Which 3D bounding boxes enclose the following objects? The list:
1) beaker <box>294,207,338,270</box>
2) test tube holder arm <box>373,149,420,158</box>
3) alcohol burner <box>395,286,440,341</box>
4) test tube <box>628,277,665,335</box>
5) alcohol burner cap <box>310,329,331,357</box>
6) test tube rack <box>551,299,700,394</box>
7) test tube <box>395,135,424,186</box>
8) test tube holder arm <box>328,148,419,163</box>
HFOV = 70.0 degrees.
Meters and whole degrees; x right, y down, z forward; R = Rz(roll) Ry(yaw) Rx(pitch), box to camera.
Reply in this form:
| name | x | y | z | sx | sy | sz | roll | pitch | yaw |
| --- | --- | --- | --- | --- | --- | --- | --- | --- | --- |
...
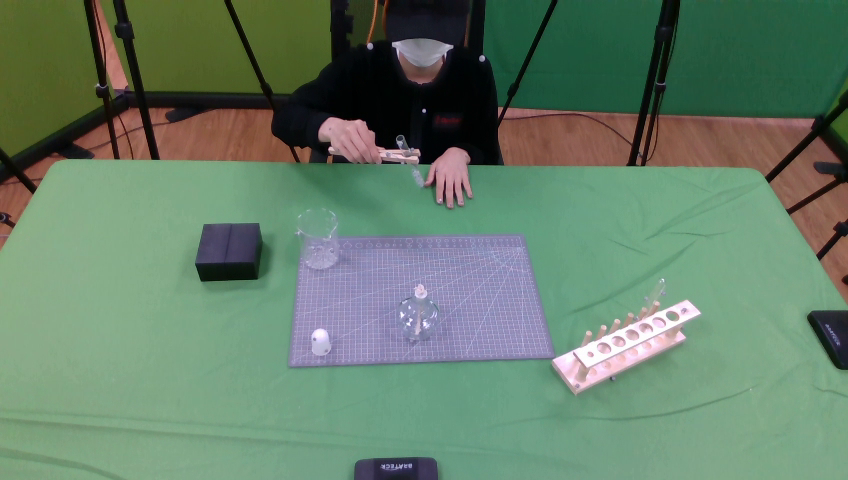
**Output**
| name | x | y | z | sx | sy | sz | roll | pitch | yaw |
| --- | --- | --- | --- | --- | --- | --- | --- | --- | --- |
| beaker | -0.196 | 0.003 | 1.123 | 0.074 | 0.101 | 0.083 | -23 | 53 | -24 |
| test tube holder arm | -0.051 | -0.157 | 1.105 | 0.088 | 0.015 | 0.010 | 0 | 59 | 14 |
| alcohol burner | -0.010 | 0.116 | 1.018 | 0.078 | 0.119 | 0.077 | 3 | 47 | -3 |
| test tube | 0.371 | 0.112 | 1.014 | 0.017 | 0.151 | 0.017 | 3 | 47 | -3 |
| alcohol burner cap | -0.173 | 0.168 | 1.005 | 0.034 | 0.048 | 0.033 | 2 | 46 | -2 |
| test tube rack | 0.339 | 0.166 | 1.021 | 0.242 | 0.085 | 0.066 | -19 | 50 | -21 |
| test tube | -0.024 | -0.143 | 1.114 | 0.017 | 0.151 | 0.017 | -7 | 61 | 13 |
| test tube holder arm | -0.095 | -0.156 | 1.115 | 0.178 | 0.015 | 0.013 | 6 | 60 | 17 |
